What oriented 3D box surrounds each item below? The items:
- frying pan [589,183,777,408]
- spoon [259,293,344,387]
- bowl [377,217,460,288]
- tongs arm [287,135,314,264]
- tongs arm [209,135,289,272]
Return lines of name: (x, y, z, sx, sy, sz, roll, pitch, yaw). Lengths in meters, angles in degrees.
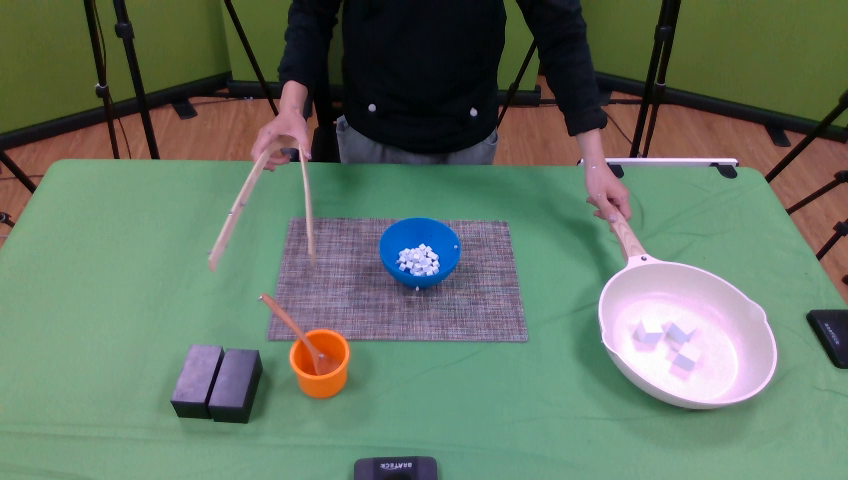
frying pan: (0.412, 0.079, 1.096, 0.307, 0.103, 0.484, -8, 56, -13)
spoon: (-0.191, 0.155, 0.947, 0.021, 0.194, 0.041, -14, 26, 49)
bowl: (-0.012, 0.036, 1.118, 0.151, 0.077, 0.150, 2, 46, -2)
tongs arm: (-0.209, -0.084, 1.031, 0.028, 0.028, 0.385, -14, 38, -6)
tongs arm: (-0.287, -0.078, 1.027, 0.051, 0.026, 0.382, -4, 37, 2)
